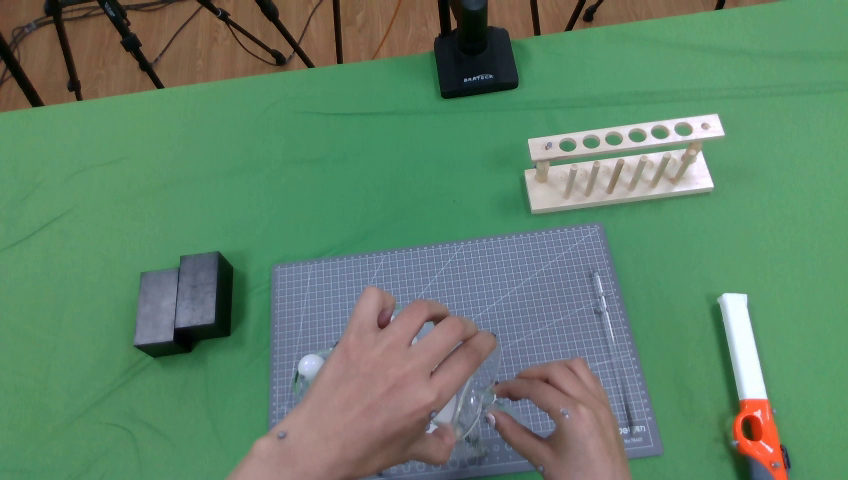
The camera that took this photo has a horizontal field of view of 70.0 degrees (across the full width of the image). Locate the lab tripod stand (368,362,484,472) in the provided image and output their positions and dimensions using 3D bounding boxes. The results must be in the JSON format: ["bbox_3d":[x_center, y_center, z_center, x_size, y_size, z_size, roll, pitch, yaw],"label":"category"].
[{"bbox_3d":[-0.007,0.189,0.654,0.148,0.132,0.147,-3,63,6],"label":"lab tripod stand"}]

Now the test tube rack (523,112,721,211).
[{"bbox_3d":[0.258,-0.101,0.802,0.242,0.086,0.066,-7,63,2],"label":"test tube rack"}]

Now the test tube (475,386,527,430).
[{"bbox_3d":[0.072,0.154,0.548,0.017,0.152,0.017,-9,63,18],"label":"test tube"}]

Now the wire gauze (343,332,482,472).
[{"bbox_3d":[-0.014,0.156,0.595,0.125,0.011,0.120,-10,62,0],"label":"wire gauze"}]

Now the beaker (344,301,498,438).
[{"bbox_3d":[-0.003,0.095,0.466,0.099,0.084,0.074,21,78,22],"label":"beaker"}]

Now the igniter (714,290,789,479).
[{"bbox_3d":[0.369,0.188,0.683,0.057,0.025,0.274,4,64,-4],"label":"igniter"}]

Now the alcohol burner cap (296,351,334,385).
[{"bbox_3d":[-0.120,0.138,0.660,0.034,0.048,0.033,-4,68,9],"label":"alcohol burner cap"}]

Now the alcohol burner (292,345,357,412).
[{"bbox_3d":[-0.118,0.153,0.692,0.078,0.120,0.077,-2,62,5],"label":"alcohol burner"}]

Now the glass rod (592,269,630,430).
[{"bbox_3d":[0.225,0.128,0.732,0.008,0.008,0.198,-6,66,2],"label":"glass rod"}]
